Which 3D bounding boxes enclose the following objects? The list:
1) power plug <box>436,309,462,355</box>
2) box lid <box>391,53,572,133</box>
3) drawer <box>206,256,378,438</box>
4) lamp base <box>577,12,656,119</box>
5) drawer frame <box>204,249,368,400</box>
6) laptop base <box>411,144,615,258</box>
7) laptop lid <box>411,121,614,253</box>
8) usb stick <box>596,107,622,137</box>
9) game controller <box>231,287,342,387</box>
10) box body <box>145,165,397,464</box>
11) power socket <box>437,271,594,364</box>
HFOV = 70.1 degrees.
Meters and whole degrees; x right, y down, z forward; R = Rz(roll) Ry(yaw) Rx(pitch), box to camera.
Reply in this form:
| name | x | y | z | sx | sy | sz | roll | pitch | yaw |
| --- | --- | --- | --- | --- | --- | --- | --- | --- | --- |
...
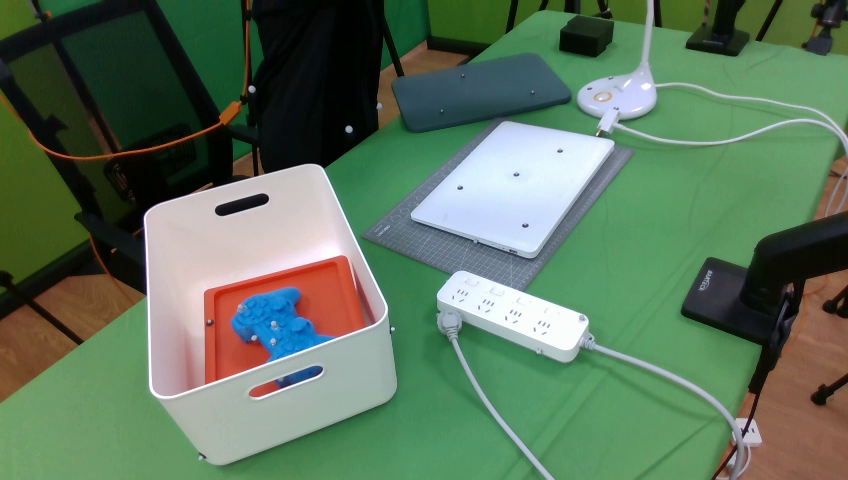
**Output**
| name | x | y | z | sx | sy | sz | roll | pitch | yaw |
| --- | --- | --- | --- | --- | --- | --- | --- | --- | --- |
| power plug | 0.032 | 0.126 | 0.810 | 0.035 | 0.053 | 0.072 | 3 | 59 | 7 |
| box lid | 0.122 | -0.339 | 1.366 | 0.372 | 0.015 | 0.261 | -12 | 40 | -5 |
| drawer | -0.177 | 0.130 | 0.787 | 0.195 | 0.073 | 0.210 | -14 | 39 | -9 |
| lamp base | 0.404 | -0.359 | 1.218 | 0.180 | 0.181 | 0.159 | -24 | 43 | -23 |
| drawer frame | -0.174 | 0.129 | 0.790 | 0.202 | 0.083 | 0.212 | -16 | 45 | -8 |
| laptop base | 0.167 | -0.102 | 1.074 | 0.234 | 0.023 | 0.355 | 16 | 45 | 30 |
| laptop lid | 0.164 | -0.112 | 1.068 | 0.240 | 0.013 | 0.357 | 19 | 46 | 30 |
| usb stick | 0.355 | -0.223 | 1.168 | 0.027 | 0.059 | 0.022 | 37 | 14 | 34 |
| game controller | -0.167 | 0.110 | 0.734 | 0.097 | 0.052 | 0.154 | -35 | 47 | -22 |
| box body | -0.205 | 0.080 | 0.802 | 0.255 | 0.161 | 0.361 | -18 | 41 | -13 |
| power socket | 0.118 | 0.102 | 0.830 | 0.225 | 0.033 | 0.072 | 20 | 48 | 28 |
